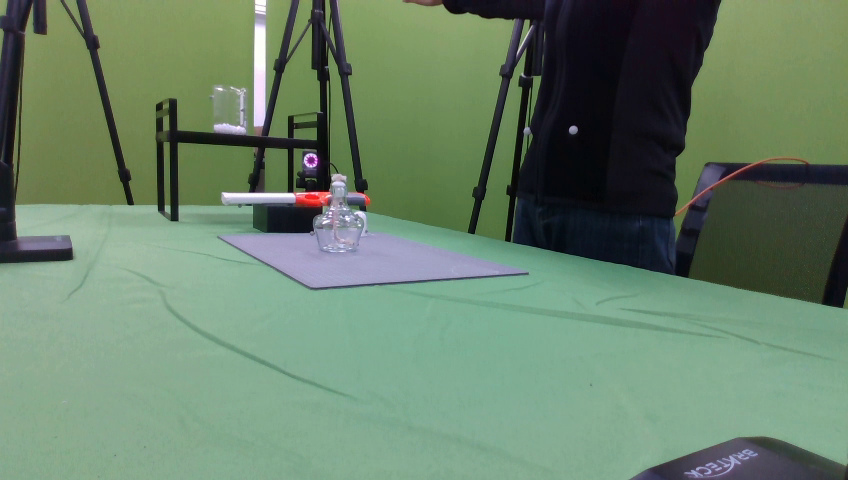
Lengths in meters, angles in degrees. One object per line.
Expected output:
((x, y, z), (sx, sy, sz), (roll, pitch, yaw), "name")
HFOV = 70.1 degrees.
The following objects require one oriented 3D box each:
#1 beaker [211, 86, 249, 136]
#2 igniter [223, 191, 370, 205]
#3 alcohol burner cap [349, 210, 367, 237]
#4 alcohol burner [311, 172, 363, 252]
((-0.413, -0.274, 1.297), (0.074, 0.100, 0.083), (-5, 11, -44), "beaker")
((-0.239, -0.080, 1.159), (0.278, 0.025, 0.057), (-2, 20, -26), "igniter")
((-0.118, -0.030, 1.095), (0.034, 0.048, 0.034), (2, 8, 0), "alcohol burner cap")
((-0.130, -0.042, 0.906), (0.078, 0.119, 0.078), (2, 6, 0), "alcohol burner")
